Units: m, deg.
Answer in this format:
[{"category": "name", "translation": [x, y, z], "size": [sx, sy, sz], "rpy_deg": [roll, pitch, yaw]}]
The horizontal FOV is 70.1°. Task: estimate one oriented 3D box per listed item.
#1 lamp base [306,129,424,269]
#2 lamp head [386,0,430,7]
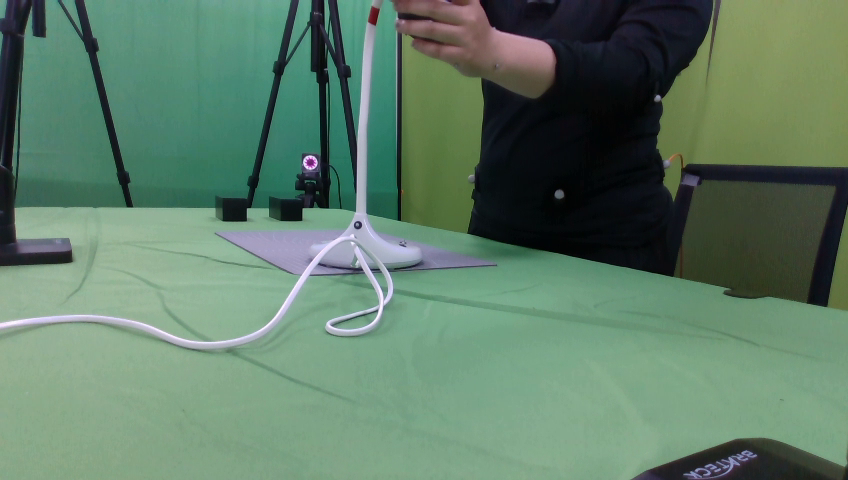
[{"category": "lamp base", "translation": [-0.077, -0.057, 0.810], "size": [0.161, 0.180, 0.179], "rpy_deg": [2, 10, -4]}, {"category": "lamp head", "translation": [-0.020, -0.324, 0.669], "size": [0.112, 0.123, 0.112], "rpy_deg": [4, 3, 0]}]
